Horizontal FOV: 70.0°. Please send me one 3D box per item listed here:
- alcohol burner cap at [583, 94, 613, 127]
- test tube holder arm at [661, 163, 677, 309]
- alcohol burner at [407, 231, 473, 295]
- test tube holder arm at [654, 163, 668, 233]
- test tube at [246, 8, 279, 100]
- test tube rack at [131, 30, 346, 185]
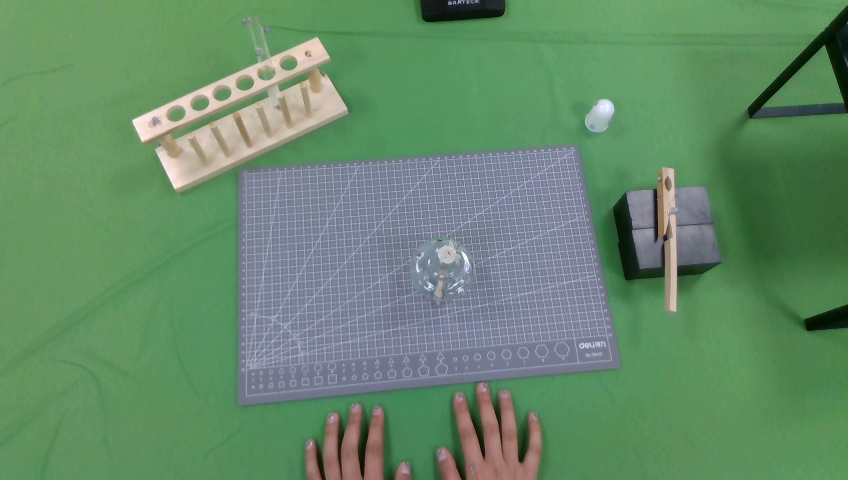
[{"bbox_3d":[0.234,-0.175,0.808,0.034,0.048,0.033,0,72,-1],"label":"alcohol burner cap"},{"bbox_3d":[0.290,-0.007,0.720,0.013,0.015,0.177,2,74,0],"label":"test tube holder arm"},{"bbox_3d":[0.020,0.022,0.696,0.078,0.119,0.077,1,73,-3],"label":"alcohol burner"},{"bbox_3d":[0.287,-0.051,0.733,0.010,0.015,0.087,4,74,1],"label":"test tube holder arm"},{"bbox_3d":[-0.190,-0.218,0.728,0.017,0.151,0.017,1,67,-3],"label":"test tube"},{"bbox_3d":[-0.224,-0.165,0.762,0.242,0.085,0.066,-28,75,-11],"label":"test tube rack"}]
